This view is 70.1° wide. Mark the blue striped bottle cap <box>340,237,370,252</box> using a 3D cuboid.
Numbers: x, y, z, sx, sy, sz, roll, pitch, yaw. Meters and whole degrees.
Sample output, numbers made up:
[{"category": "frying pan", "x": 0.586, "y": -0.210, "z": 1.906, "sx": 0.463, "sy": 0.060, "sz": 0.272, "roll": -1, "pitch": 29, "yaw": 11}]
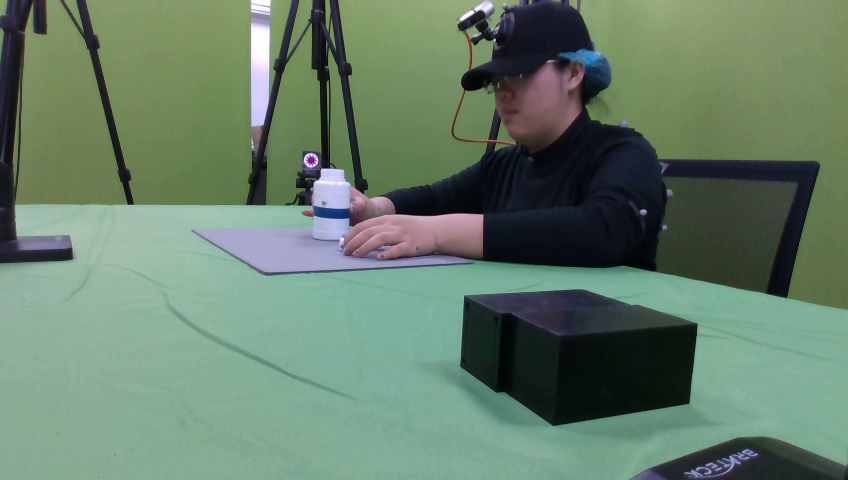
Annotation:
[{"category": "blue striped bottle cap", "x": -0.105, "y": 0.007, "z": 0.919, "sx": 0.044, "sy": 0.020, "sz": 0.044, "roll": -5, "pitch": 2, "yaw": 1}]

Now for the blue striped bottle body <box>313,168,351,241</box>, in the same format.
[{"category": "blue striped bottle body", "x": -0.156, "y": -0.062, "z": 1.025, "sx": 0.063, "sy": 0.120, "sz": 0.063, "roll": 2, "pitch": 7, "yaw": 0}]
